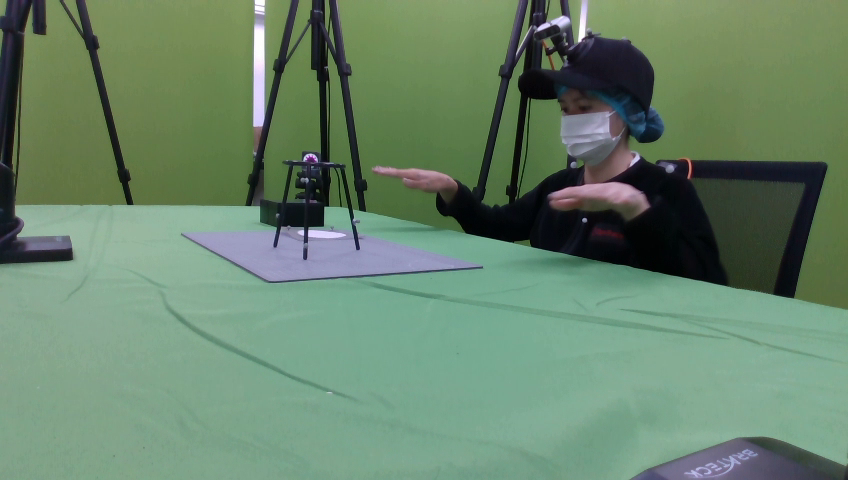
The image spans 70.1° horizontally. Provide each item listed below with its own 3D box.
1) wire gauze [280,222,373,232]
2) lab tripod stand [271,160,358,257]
[{"bbox_3d":[-0.173,-0.025,1.072,0.121,0.011,0.126,6,2,38],"label":"wire gauze"},{"bbox_3d":[-0.160,-0.048,0.876,0.148,0.131,0.148,3,5,0],"label":"lab tripod stand"}]
